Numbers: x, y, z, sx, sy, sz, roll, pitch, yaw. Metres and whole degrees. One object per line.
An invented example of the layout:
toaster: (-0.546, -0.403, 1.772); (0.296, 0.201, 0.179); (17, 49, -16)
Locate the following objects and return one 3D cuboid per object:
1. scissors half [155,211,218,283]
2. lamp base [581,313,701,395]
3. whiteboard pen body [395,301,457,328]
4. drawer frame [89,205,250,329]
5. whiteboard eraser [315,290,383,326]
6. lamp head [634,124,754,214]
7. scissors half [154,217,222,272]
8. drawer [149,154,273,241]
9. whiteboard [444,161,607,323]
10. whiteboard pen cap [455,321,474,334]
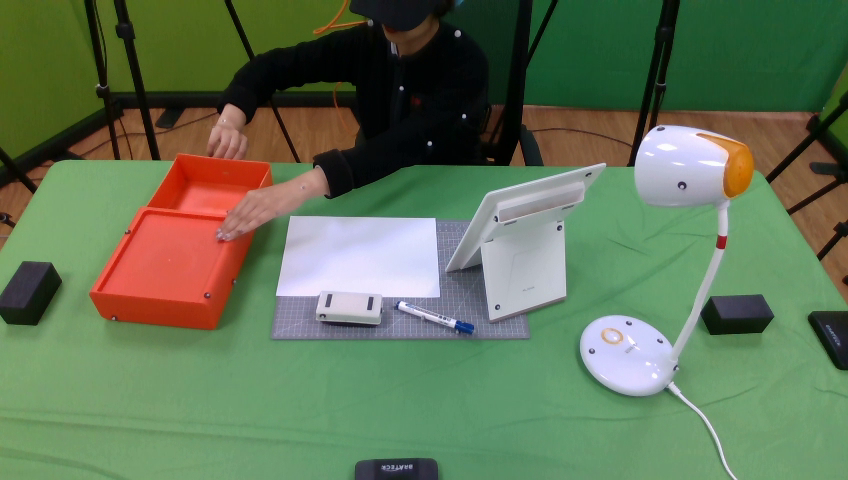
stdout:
scissors half: (-0.452, 0.016, 1.157); (0.175, 0.040, 0.013); (49, 48, -3)
lamp base: (0.361, 0.144, 0.972); (0.178, 0.181, 0.160); (34, 53, 23)
whiteboard pen body: (0.015, 0.134, 1.064); (0.140, 0.017, 0.017); (17, 47, 16)
drawer frame: (-0.440, 0.043, 1.080); (0.202, 0.083, 0.212); (5, 47, 0)
whiteboard eraser: (-0.130, 0.120, 1.054); (0.113, 0.042, 0.055); (4, 47, 0)
lamp head: (0.351, -0.089, 0.775); (0.112, 0.113, 0.122); (-30, 30, -28)
scissors half: (-0.447, 0.010, 1.147); (0.175, 0.040, 0.013); (37, 54, 9)
drawer: (-0.424, -0.074, 1.201); (0.194, 0.073, 0.210); (6, 45, 1)
whiteboard: (0.186, 0.025, 1.029); (0.217, 0.306, 0.143); (-14, 68, -18)
whiteboard pen cap: (0.069, 0.151, 1.046); (0.033, 0.018, 0.018); (14, 47, 16)
